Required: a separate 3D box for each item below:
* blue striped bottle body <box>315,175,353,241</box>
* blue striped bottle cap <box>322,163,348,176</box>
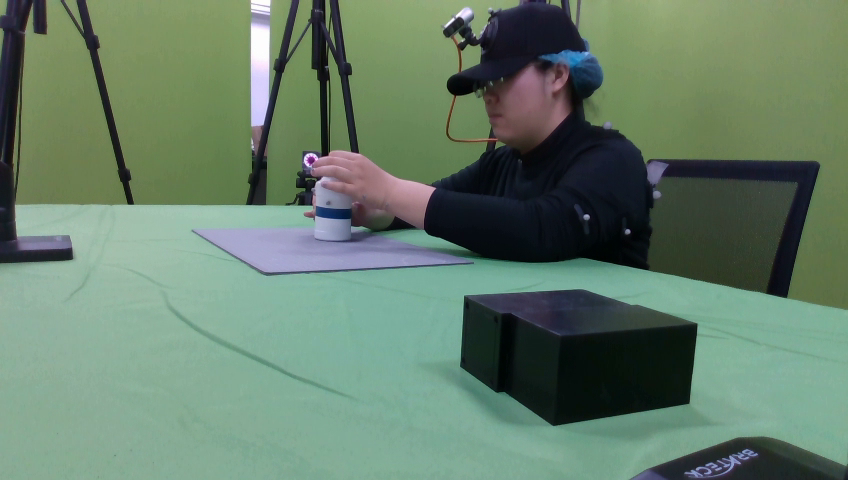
[{"bbox_3d":[-0.152,-0.061,1.022,0.063,0.120,0.063,2,7,0],"label":"blue striped bottle body"},{"bbox_3d":[-0.149,-0.118,1.013,0.044,0.020,0.044,-6,6,1],"label":"blue striped bottle cap"}]
